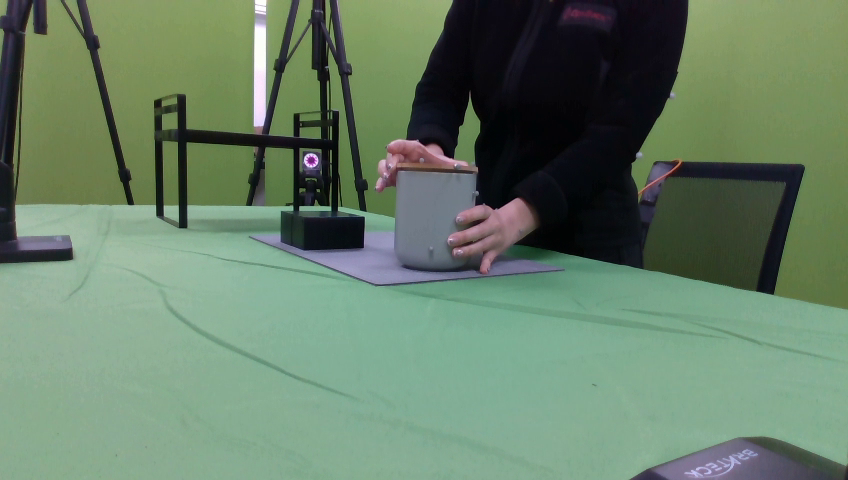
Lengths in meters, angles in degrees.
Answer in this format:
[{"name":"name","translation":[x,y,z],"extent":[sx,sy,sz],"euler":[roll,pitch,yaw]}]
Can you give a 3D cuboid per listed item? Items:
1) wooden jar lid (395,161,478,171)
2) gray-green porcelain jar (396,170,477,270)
[{"name":"wooden jar lid","translation":[0.016,-0.090,0.784],"extent":[0.108,0.020,0.108],"euler":[4,5,0]},{"name":"gray-green porcelain jar","translation":[0.016,-0.027,0.794],"extent":[0.106,0.126,0.106],"euler":[0,5,0]}]
